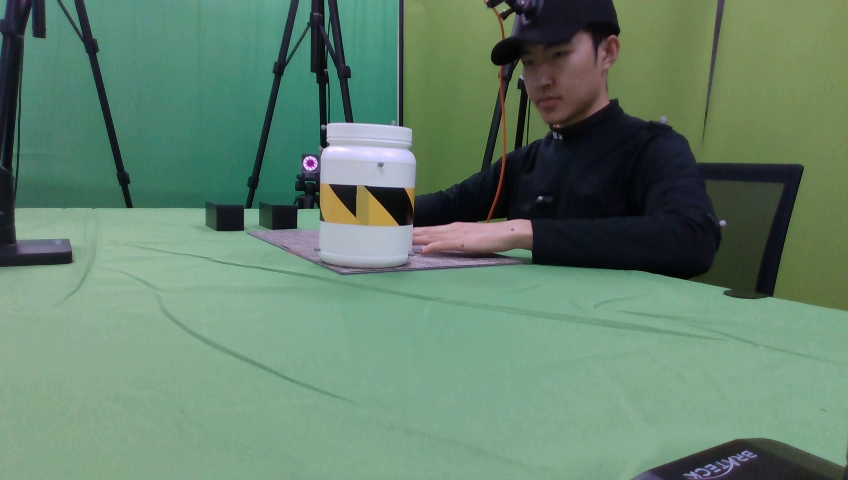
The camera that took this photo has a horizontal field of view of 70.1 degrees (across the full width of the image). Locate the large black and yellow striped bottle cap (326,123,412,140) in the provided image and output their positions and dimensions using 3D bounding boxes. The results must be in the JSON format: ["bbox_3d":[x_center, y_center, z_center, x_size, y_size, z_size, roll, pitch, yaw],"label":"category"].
[{"bbox_3d":[-0.074,-0.145,0.812,0.115,0.019,0.115,1,7,0],"label":"large black and yellow striped bottle cap"}]

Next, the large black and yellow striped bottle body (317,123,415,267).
[{"bbox_3d":[-0.078,-0.063,0.824,0.131,0.184,0.130,2,7,0],"label":"large black and yellow striped bottle body"}]
